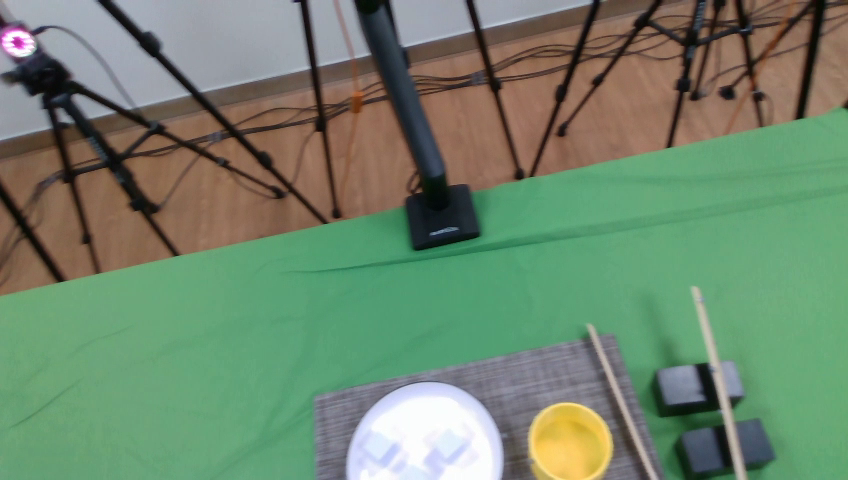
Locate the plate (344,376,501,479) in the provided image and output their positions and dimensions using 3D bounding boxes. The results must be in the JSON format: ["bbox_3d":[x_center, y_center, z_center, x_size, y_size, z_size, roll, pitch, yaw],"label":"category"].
[{"bbox_3d":[-0.001,0.286,0.809,0.207,0.039,0.205,-4,56,7],"label":"plate"}]

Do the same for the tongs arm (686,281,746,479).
[{"bbox_3d":[0.354,0.232,0.741,0.050,0.027,0.381,-20,57,27],"label":"tongs arm"}]

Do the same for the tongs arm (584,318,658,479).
[{"bbox_3d":[0.287,0.264,0.776,0.028,0.028,0.383,-30,53,16],"label":"tongs arm"}]

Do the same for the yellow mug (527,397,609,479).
[{"bbox_3d":[0.176,0.272,0.769,0.099,0.064,0.130,16,61,18],"label":"yellow mug"}]
